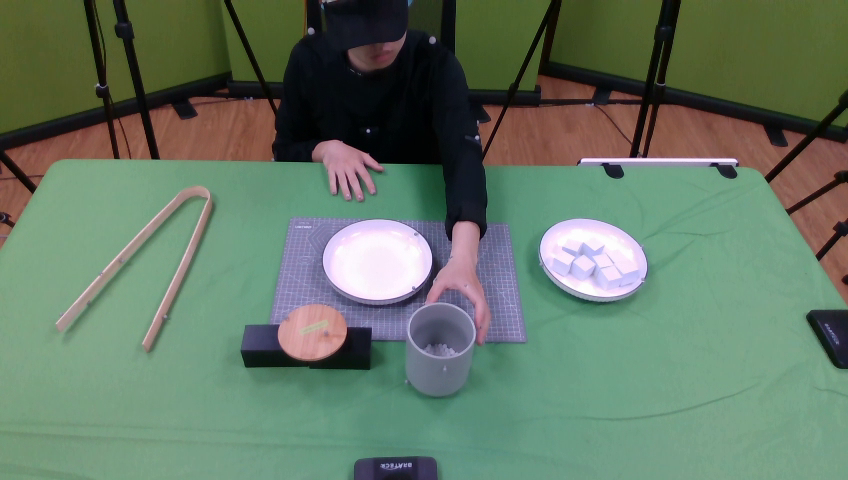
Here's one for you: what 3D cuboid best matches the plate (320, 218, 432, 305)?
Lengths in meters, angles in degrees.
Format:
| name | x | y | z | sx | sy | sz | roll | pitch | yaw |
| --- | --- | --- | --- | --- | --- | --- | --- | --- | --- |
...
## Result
| name | x | y | z | sx | sy | sz | roll | pitch | yaw |
| --- | --- | --- | --- | --- | --- | --- | --- | --- | --- |
| plate | -0.089 | 0.044 | 1.134 | 0.209 | 0.038 | 0.208 | 3 | 46 | -3 |

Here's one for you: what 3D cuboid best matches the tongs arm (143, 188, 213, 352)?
| name | x | y | z | sx | sy | sz | roll | pitch | yaw |
| --- | --- | --- | --- | --- | --- | --- | --- | --- | --- |
| tongs arm | -0.450 | 0.040 | 1.122 | 0.028 | 0.028 | 0.385 | 2 | 46 | 1 |

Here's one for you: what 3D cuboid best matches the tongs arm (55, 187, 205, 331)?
| name | x | y | z | sx | sy | sz | roll | pitch | yaw |
| --- | --- | --- | --- | --- | --- | --- | --- | --- | --- |
| tongs arm | -0.530 | 0.022 | 1.126 | 0.051 | 0.026 | 0.383 | 15 | 46 | 8 |

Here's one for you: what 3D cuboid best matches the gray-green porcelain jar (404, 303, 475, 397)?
| name | x | y | z | sx | sy | sz | roll | pitch | yaw |
| --- | --- | --- | --- | --- | --- | --- | --- | --- | --- |
| gray-green porcelain jar | 0.022 | 0.178 | 0.956 | 0.106 | 0.127 | 0.105 | 2 | 46 | -2 |

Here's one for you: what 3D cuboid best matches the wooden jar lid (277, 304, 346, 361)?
| name | x | y | z | sx | sy | sz | roll | pitch | yaw |
| --- | --- | --- | --- | --- | --- | --- | --- | --- | --- |
| wooden jar lid | -0.179 | 0.150 | 0.972 | 0.108 | 0.021 | 0.107 | 2 | 45 | -2 |

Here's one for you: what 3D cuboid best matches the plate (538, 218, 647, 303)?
| name | x | y | z | sx | sy | sz | roll | pitch | yaw |
| --- | --- | --- | --- | --- | --- | --- | --- | --- | --- |
| plate | 0.322 | 0.042 | 1.171 | 0.208 | 0.039 | 0.206 | 2 | 46 | -2 |
